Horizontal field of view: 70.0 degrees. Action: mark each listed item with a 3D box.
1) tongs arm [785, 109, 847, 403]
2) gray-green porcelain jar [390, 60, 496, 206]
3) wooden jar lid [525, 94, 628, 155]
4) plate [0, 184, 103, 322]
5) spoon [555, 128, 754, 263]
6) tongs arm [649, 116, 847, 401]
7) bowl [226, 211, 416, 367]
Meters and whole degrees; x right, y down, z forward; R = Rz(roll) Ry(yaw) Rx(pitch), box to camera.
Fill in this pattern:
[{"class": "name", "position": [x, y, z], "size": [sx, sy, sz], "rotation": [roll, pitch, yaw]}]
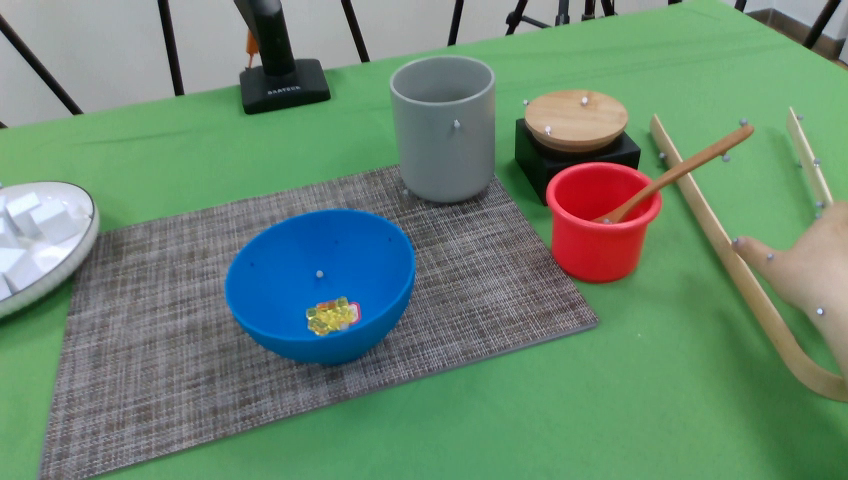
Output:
[{"class": "tongs arm", "position": [0.366, -0.015, 0.573], "size": [0.050, 0.027, 0.381], "rotation": [4, 43, 12]}, {"class": "gray-green porcelain jar", "position": [0.023, -0.108, 0.640], "size": [0.106, 0.128, 0.105], "rotation": [-3, 41, 3]}, {"class": "wooden jar lid", "position": [0.163, -0.125, 0.655], "size": [0.108, 0.021, 0.107], "rotation": [-4, 41, 3]}, {"class": "plate", "position": [-0.429, 0.019, 0.612], "size": [0.209, 0.038, 0.207], "rotation": [-3, 41, 3]}, {"class": "spoon", "position": [0.196, -0.036, 0.532], "size": [0.194, 0.022, 0.041], "rotation": [-40, 31, 29]}, {"class": "tongs arm", "position": [0.284, -0.013, 0.585], "size": [0.028, 0.028, 0.383], "rotation": [-3, 41, -1]}, {"class": "bowl", "position": [-0.078, 0.052, 0.503], "size": [0.151, 0.077, 0.150], "rotation": [-3, 41, 3]}]
